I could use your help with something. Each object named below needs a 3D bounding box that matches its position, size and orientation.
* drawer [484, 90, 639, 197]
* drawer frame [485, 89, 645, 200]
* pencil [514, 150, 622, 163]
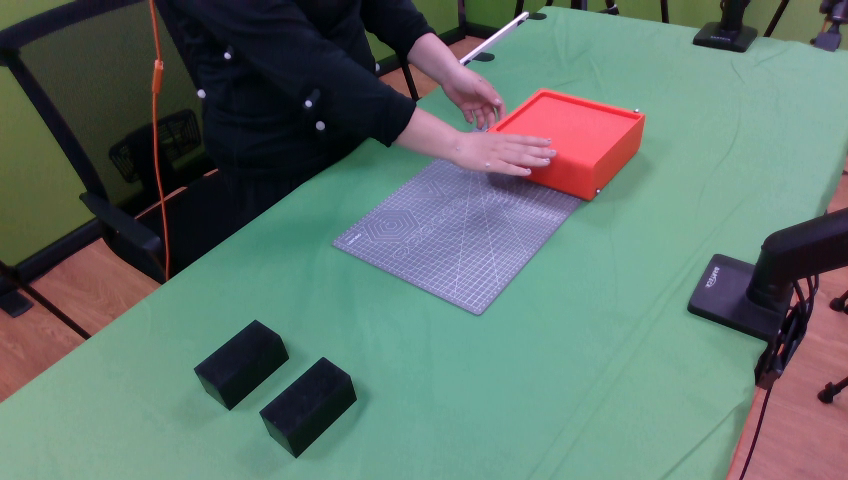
[{"bbox_3d":[0.248,-0.180,1.097,0.210,0.073,0.195,25,49,31],"label":"drawer"},{"bbox_3d":[0.253,-0.180,1.094,0.212,0.083,0.202,24,48,30],"label":"drawer frame"},{"bbox_3d":[0.261,-0.150,1.099,0.194,0.012,0.012,-4,40,7],"label":"pencil"}]
